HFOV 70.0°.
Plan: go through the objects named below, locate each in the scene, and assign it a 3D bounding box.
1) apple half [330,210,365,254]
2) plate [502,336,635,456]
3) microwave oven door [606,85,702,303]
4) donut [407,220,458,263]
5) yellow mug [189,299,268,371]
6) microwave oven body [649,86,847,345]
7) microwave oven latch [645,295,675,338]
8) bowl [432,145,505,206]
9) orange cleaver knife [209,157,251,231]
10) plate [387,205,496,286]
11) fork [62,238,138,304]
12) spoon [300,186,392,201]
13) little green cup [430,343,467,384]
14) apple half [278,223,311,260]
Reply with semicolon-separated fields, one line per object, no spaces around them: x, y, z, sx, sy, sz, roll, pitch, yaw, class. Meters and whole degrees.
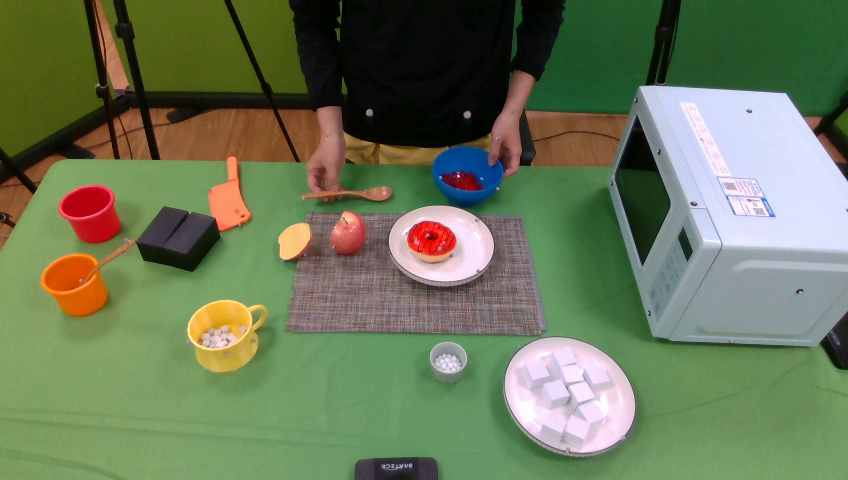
-0.140;-0.009;1.157;0.053;0.075;0.080;17;44;8;apple half
0.225;0.248;0.964;0.208;0.039;0.206;2;46;-2;plate
0.423;-0.094;1.141;0.039;0.245;0.353;2;46;-1;microwave oven door
0.016;0.002;1.166;0.099;0.048;0.098;3;44;-2;donut
-0.316;0.148;1.002;0.131;0.064;0.099;-33;56;-31;yellow mug
0.568;-0.053;1.118;0.326;0.261;0.439;2;45;-1;microwave oven body
0.412;0.134;1.061;0.030;0.029;0.078;3;45;0;microwave oven latch
0.091;-0.124;1.286;0.151;0.077;0.150;2;46;-2;bowl
-0.409;-0.099;1.266;0.077;0.012;0.210;-13;50;-10;orange cleaver knife
0.033;0.014;1.171;0.209;0.038;0.208;2;46;-2;plate
-0.547;0.053;1.018;0.207;0.019;0.028;-36;41;23;fork
-0.160;-0.096;1.259;0.194;0.022;0.041;-2;50;-25;spoon
0.039;0.203;0.994;0.061;0.039;0.061;2;46;-2;little green cup
-0.241;0.007;1.157;0.081;0.033;0.081;-17;54;25;apple half
